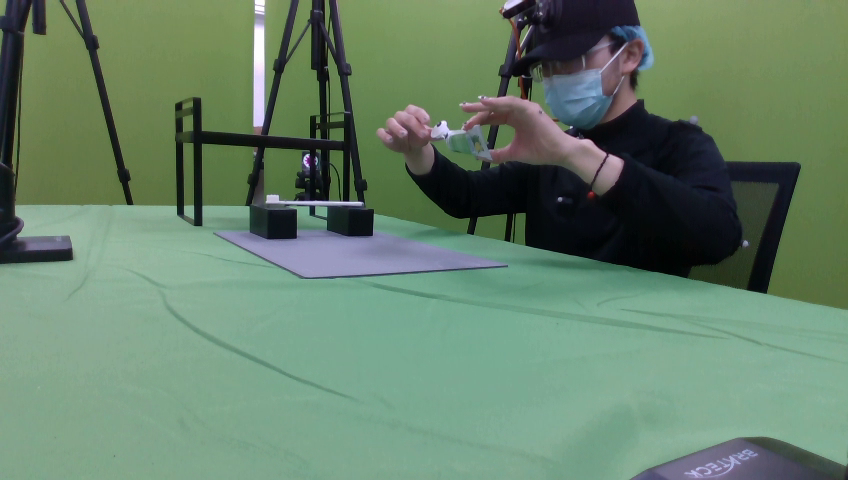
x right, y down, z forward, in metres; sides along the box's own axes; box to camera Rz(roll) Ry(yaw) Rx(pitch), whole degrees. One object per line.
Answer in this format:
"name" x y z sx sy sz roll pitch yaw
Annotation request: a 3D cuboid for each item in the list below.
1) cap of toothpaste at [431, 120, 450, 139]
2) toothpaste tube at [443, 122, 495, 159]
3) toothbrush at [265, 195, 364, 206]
"cap of toothpaste" 0.028 -0.180 0.990 0.011 0.037 0.037 38 -14 -33
"toothpaste tube" 0.066 -0.153 0.913 0.034 0.055 0.164 -31 17 -9
"toothbrush" -0.194 -0.069 1.089 0.183 0.016 0.014 0 -5 -27
